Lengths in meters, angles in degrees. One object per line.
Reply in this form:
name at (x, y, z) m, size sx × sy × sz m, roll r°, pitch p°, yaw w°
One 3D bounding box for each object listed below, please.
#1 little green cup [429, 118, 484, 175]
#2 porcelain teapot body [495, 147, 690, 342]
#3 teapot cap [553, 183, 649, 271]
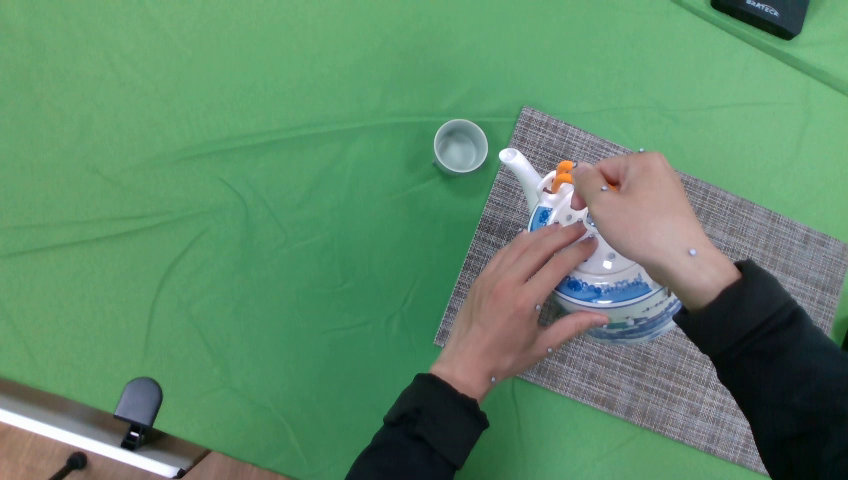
little green cup at (0.034, -0.104, 0.688) m, size 0.062 × 0.038 × 0.061 m, roll 1°, pitch 83°, yaw -7°
porcelain teapot body at (0.149, -0.014, 0.578) m, size 0.145 × 0.227 × 0.203 m, roll -48°, pitch 57°, yaw -2°
teapot cap at (0.153, -0.014, 0.528) m, size 0.085 × 0.044 × 0.084 m, roll -10°, pitch 61°, yaw 19°
